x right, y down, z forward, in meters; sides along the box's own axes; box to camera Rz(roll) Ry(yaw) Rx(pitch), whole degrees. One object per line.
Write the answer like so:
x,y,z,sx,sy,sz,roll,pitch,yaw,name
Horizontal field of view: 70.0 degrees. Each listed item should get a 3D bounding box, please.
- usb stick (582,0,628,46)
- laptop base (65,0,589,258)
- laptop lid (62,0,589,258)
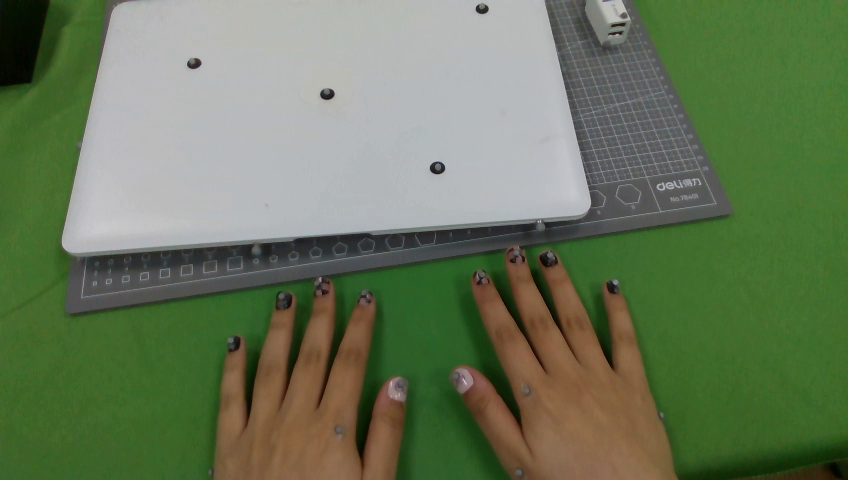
0.147,-0.191,0.502,0.021,0.027,0.058,-10,59,-4,usb stick
-0.071,-0.101,0.461,0.354,0.023,0.233,-4,65,-2,laptop base
-0.072,-0.105,0.449,0.357,0.013,0.239,-3,63,-1,laptop lid
